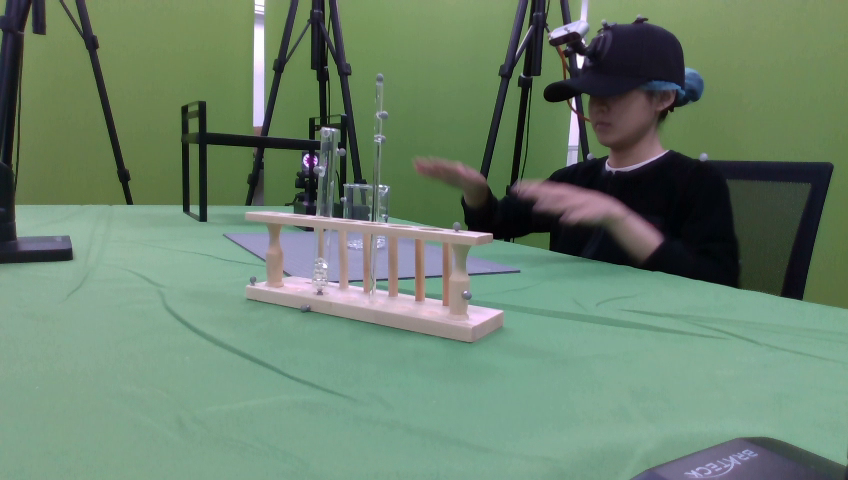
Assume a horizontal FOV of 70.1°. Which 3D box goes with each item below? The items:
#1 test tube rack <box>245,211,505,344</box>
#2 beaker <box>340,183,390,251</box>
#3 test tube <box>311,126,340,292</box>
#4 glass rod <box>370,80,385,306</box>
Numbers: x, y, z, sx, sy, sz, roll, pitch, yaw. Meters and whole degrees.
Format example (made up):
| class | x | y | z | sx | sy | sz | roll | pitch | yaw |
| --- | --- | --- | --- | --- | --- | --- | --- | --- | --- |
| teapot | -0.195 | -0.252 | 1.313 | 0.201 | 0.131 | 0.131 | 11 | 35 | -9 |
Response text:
| class | x | y | z | sx | sy | sz | roll | pitch | yaw |
| --- | --- | --- | --- | --- | --- | --- | --- | --- | --- |
| test tube rack | -0.049 | 0.025 | 0.547 | 0.241 | 0.085 | 0.067 | 7 | 8 | 29 |
| beaker | -0.090 | -0.036 | 0.943 | 0.083 | 0.100 | 0.074 | 10 | 10 | 41 |
| test tube | -0.090 | -0.027 | 0.546 | 0.017 | 0.150 | 0.017 | 6 | 8 | 0 |
| glass rod | -0.040 | -0.039 | 0.530 | 0.008 | 0.199 | 0.008 | 2 | 2 | 0 |
